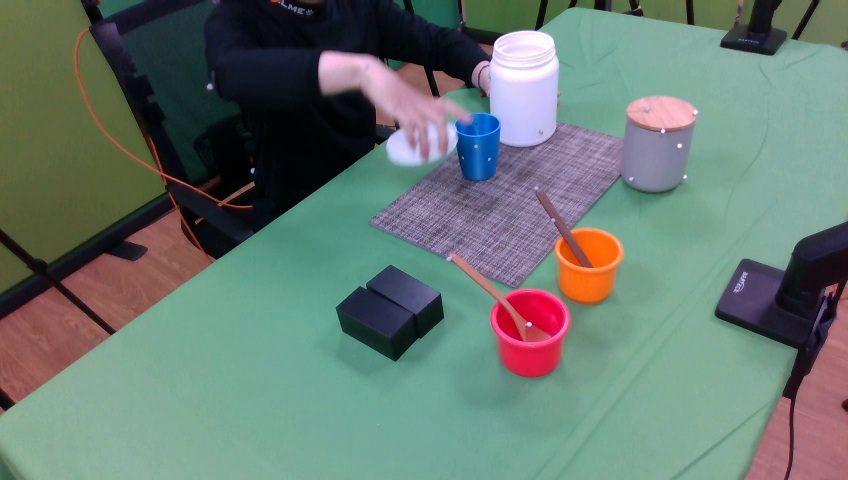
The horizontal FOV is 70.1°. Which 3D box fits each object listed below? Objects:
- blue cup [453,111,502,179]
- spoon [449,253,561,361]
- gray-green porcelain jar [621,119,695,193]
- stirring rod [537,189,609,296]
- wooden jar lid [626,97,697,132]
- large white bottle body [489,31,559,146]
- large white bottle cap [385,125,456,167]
[{"bbox_3d":[0.097,-0.166,1.089,0.092,0.100,0.092,-3,41,3],"label":"blue cup"},{"bbox_3d":[0.103,0.083,0.770,0.194,0.021,0.042,47,51,-7],"label":"spoon"},{"bbox_3d":[0.389,-0.152,1.016,0.106,0.127,0.105,-4,40,4],"label":"gray-green porcelain jar"},{"bbox_3d":[0.211,0.003,0.855,0.014,0.006,0.176,-32,89,-30],"label":"stirring rod"},{"bbox_3d":[0.381,-0.198,0.976,0.108,0.021,0.108,-2,40,3],"label":"wooden jar lid"},{"bbox_3d":[0.190,-0.288,1.152,0.130,0.185,0.130,-4,41,4],"label":"large white bottle body"},{"bbox_3d":[-0.006,-0.153,0.976,0.115,0.018,0.114,-9,35,6],"label":"large white bottle cap"}]
